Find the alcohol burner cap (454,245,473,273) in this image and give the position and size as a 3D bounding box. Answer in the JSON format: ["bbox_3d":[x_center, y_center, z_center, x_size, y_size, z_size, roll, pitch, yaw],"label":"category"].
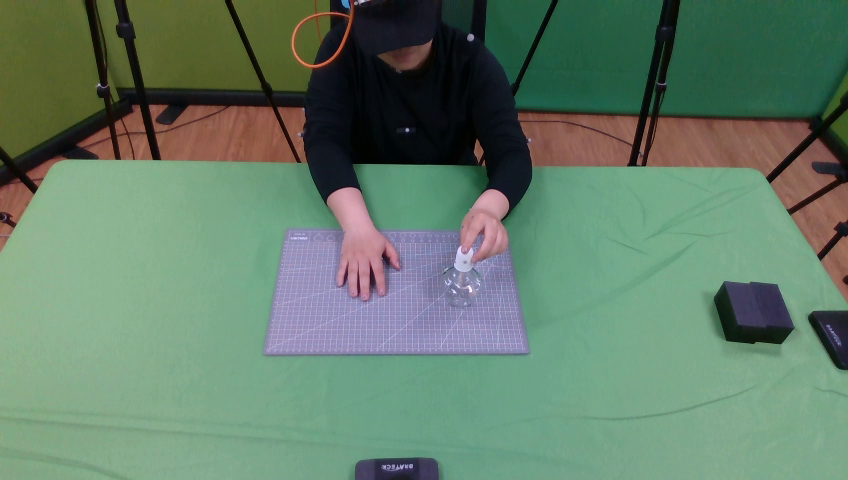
[{"bbox_3d":[0.069,0.029,1.041,0.034,0.048,0.033,2,42,-1],"label":"alcohol burner cap"}]

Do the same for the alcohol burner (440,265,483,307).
[{"bbox_3d":[0.068,0.064,1.076,0.078,0.120,0.077,1,45,-1],"label":"alcohol burner"}]
